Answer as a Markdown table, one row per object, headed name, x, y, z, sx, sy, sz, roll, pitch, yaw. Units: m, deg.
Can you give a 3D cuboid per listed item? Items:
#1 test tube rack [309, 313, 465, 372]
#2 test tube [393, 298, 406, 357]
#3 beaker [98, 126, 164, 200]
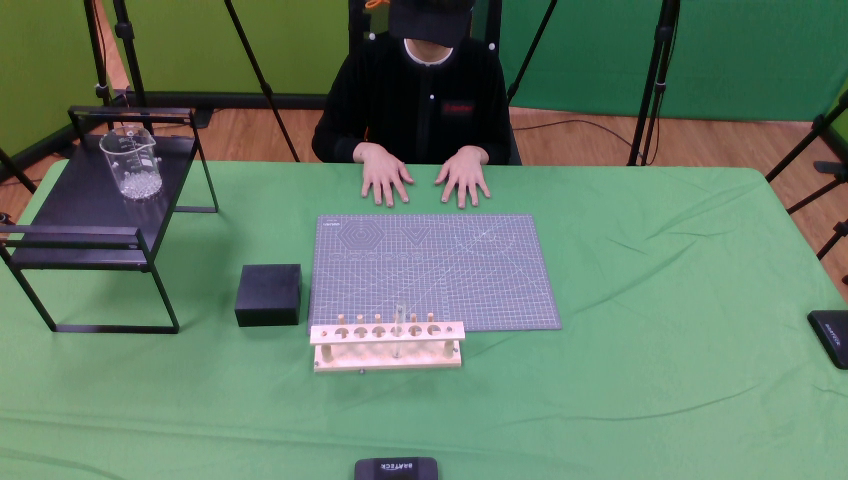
| name | x | y | z | sx | sy | sz | roll | pitch | yaw |
| --- | --- | --- | --- | --- | --- | --- | --- | --- | --- |
| test tube rack | -0.059 | 0.161 | 0.990 | 0.242 | 0.085 | 0.066 | -1 | 46 | -5 |
| test tube | -0.039 | 0.139 | 0.943 | 0.017 | 0.151 | 0.017 | 3 | 48 | -3 |
| beaker | -0.464 | -0.122 | 0.977 | 0.084 | 0.101 | 0.073 | 0 | 46 | -5 |
